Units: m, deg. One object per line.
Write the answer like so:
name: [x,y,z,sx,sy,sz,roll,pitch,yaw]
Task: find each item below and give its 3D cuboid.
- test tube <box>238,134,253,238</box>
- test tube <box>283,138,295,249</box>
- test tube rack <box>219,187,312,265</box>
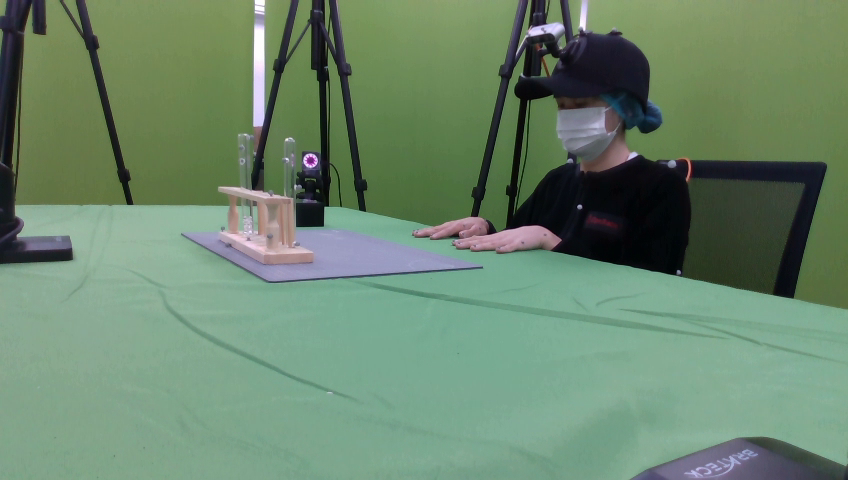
test tube: [-0.258,-0.077,0.873,0.017,0.150,0.017,-1,5,0]
test tube: [-0.182,-0.062,0.815,0.017,0.150,0.017,2,8,0]
test tube rack: [-0.235,-0.027,0.872,0.067,0.085,0.241,-2,8,-31]
